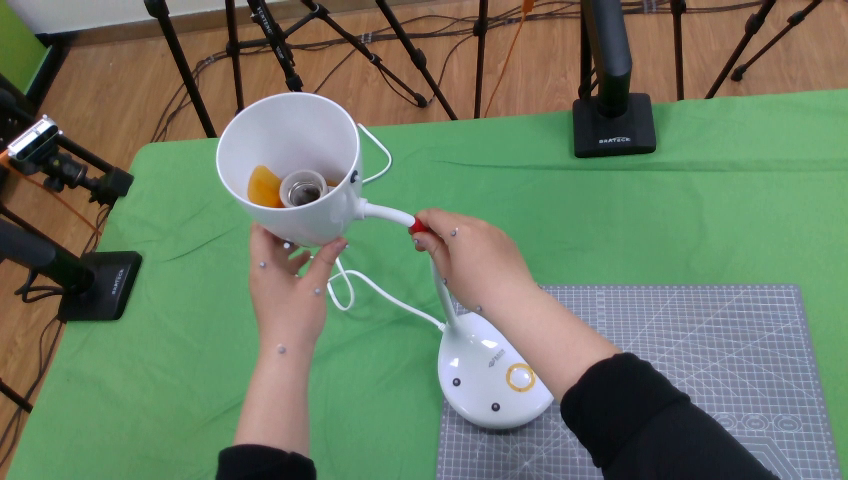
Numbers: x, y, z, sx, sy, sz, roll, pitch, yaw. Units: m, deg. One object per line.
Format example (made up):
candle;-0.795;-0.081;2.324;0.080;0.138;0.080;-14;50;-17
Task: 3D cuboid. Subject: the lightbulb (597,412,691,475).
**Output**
lightbulb;0.250;0.226;0.695;0.107;0.060;0.059;16;63;40

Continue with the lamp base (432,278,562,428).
lamp base;0.070;0.118;0.724;0.178;0.182;0.160;23;66;28

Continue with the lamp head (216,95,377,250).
lamp head;-0.099;-0.043;0.516;0.112;0.124;0.111;-3;62;7
